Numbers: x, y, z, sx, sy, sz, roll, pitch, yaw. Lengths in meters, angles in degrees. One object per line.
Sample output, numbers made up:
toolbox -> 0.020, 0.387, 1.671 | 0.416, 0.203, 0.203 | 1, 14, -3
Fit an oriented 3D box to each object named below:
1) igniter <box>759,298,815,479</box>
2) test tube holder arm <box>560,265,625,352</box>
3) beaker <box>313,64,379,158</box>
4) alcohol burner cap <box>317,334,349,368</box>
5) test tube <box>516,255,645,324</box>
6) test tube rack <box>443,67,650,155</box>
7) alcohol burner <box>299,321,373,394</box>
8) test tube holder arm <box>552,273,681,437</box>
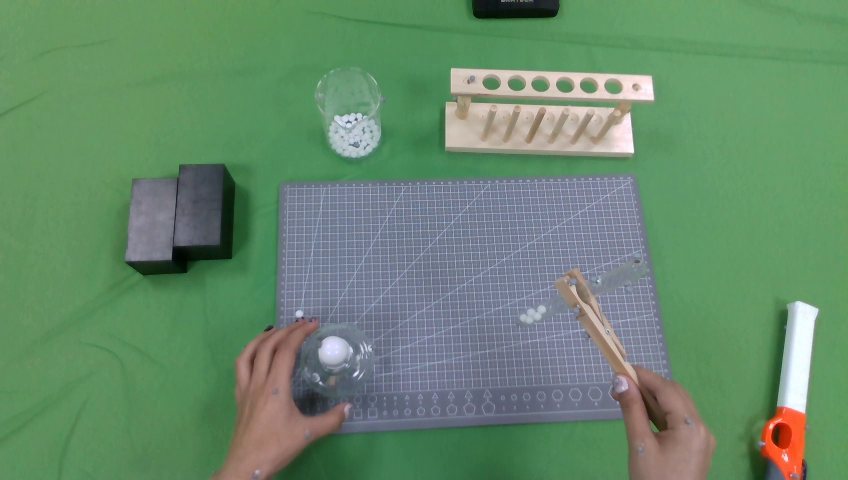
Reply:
igniter -> 0.406, 0.197, 0.679 | 0.057, 0.025, 0.275 | 21, 71, -6
test tube holder arm -> 0.146, 0.062, 0.524 | 0.010, 0.015, 0.088 | -31, 91, -41
beaker -> -0.090, -0.147, 0.729 | 0.074, 0.101, 0.083 | 1, 71, -3
alcohol burner cap -> -0.091, 0.108, 0.594 | 0.034, 0.048, 0.033 | 1, 76, -4
test tube -> 0.128, 0.046, 0.523 | 0.017, 0.150, 0.017 | 14, 61, -26
test tube rack -> 0.147, -0.158, 0.754 | 0.242, 0.085, 0.066 | 2, 71, -3
alcohol burner -> -0.092, 0.119, 0.628 | 0.078, 0.119, 0.077 | 2, 70, -4
test tube holder arm -> 0.168, 0.102, 0.524 | 0.179, 0.015, 0.013 | 54, 50, -6
